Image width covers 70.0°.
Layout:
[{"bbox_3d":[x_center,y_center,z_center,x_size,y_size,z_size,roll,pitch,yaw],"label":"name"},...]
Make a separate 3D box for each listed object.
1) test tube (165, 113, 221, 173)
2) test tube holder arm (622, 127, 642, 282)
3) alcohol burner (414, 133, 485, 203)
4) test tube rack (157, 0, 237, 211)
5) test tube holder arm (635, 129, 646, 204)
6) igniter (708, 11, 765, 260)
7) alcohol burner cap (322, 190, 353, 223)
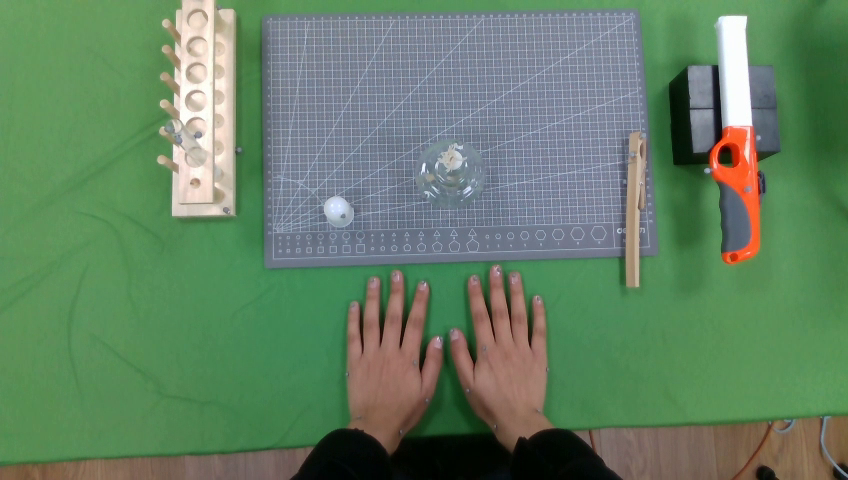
[{"bbox_3d":[-0.226,-0.093,0.602,0.017,0.150,0.017,1,81,-5],"label":"test tube"},{"bbox_3d":[0.237,-0.041,0.691,0.013,0.015,0.178,11,81,-31],"label":"test tube holder arm"},{"bbox_3d":[0.028,-0.080,0.643,0.078,0.119,0.077,0,85,-1],"label":"alcohol burner"},{"bbox_3d":[-0.249,-0.158,0.657,0.067,0.085,0.241,-1,84,-2],"label":"test tube rack"},{"bbox_3d":[0.247,-0.084,0.700,0.010,0.015,0.087,11,81,-31],"label":"test tube holder arm"},{"bbox_3d":[0.338,-0.115,0.660,0.057,0.025,0.275,1,83,4],"label":"igniter"},{"bbox_3d":[-0.097,-0.039,0.670,0.034,0.048,0.034,0,83,-2],"label":"alcohol burner cap"}]
